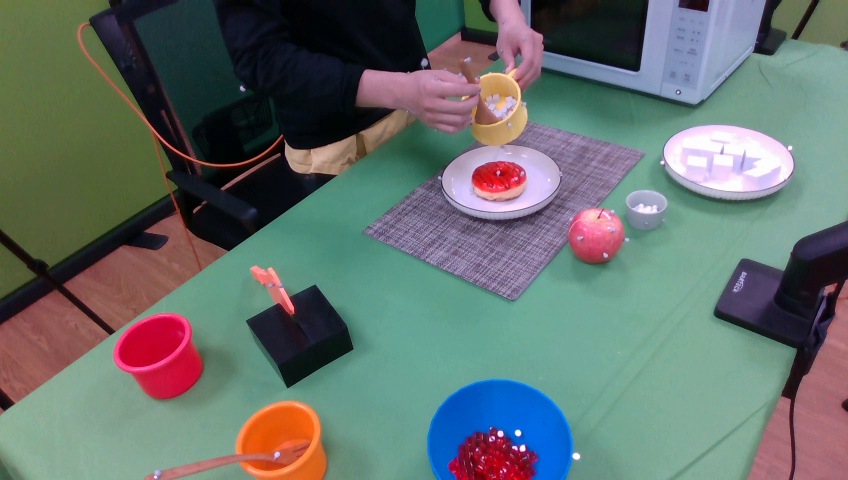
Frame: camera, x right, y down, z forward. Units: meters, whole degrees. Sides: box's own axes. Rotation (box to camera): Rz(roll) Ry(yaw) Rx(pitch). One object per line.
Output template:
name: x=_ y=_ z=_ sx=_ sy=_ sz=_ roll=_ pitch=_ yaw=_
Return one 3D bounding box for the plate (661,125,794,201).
plate: x=0.513 y=-0.128 z=1.035 sx=0.207 sy=0.039 sz=0.206 roll=-4 pitch=40 yaw=4

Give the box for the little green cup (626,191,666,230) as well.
little green cup: x=0.352 y=-0.046 z=0.963 sx=0.061 sy=0.039 sz=0.061 roll=-4 pitch=40 yaw=4

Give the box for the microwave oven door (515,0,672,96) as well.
microwave oven door: x=0.343 y=-0.455 z=1.259 sx=0.353 sy=0.245 sz=0.039 roll=26 pitch=51 yaw=33

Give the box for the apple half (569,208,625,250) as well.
apple half: x=0.262 y=-0.014 z=0.913 sx=0.080 sy=0.075 sz=0.053 roll=5 pitch=37 yaw=20

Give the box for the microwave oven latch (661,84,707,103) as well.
microwave oven latch: x=0.517 y=-0.296 z=1.204 sx=0.078 sy=0.029 sz=0.030 roll=27 pitch=52 yaw=35

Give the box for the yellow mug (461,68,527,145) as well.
yellow mug: x=0.125 y=-0.230 z=1.004 sx=0.099 sy=0.064 sz=0.131 roll=31 pitch=82 yaw=26

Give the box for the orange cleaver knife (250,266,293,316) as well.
orange cleaver knife: x=-0.221 y=0.071 z=0.873 sx=0.012 sy=0.077 sz=0.210 roll=-25 pitch=11 yaw=-21

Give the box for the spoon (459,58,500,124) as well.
spoon: x=0.080 y=-0.218 z=0.909 sx=0.041 sy=0.195 sz=0.021 roll=4 pitch=71 yaw=20

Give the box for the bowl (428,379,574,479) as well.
bowl: x=0.082 y=0.233 z=0.644 sx=0.151 sy=0.077 sz=0.150 roll=-4 pitch=40 yaw=4

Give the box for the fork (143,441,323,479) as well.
fork: x=-0.189 y=0.231 z=0.631 sx=0.028 sy=0.018 sz=0.209 roll=35 pitch=13 yaw=37

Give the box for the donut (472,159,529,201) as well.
donut: x=0.132 y=-0.105 z=1.043 sx=0.099 sy=0.048 sz=0.098 roll=-5 pitch=38 yaw=4

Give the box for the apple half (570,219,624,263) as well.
apple half: x=0.250 y=0.009 z=0.885 sx=0.081 sy=0.081 sz=0.033 roll=7 pitch=39 yaw=17

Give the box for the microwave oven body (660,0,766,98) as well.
microwave oven body: x=0.472 y=-0.513 z=1.317 sx=0.438 sy=0.261 sz=0.327 roll=26 pitch=51 yaw=34

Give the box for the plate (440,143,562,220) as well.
plate: x=0.134 y=-0.098 z=1.052 sx=0.209 sy=0.038 sz=0.208 roll=-4 pitch=40 yaw=4
